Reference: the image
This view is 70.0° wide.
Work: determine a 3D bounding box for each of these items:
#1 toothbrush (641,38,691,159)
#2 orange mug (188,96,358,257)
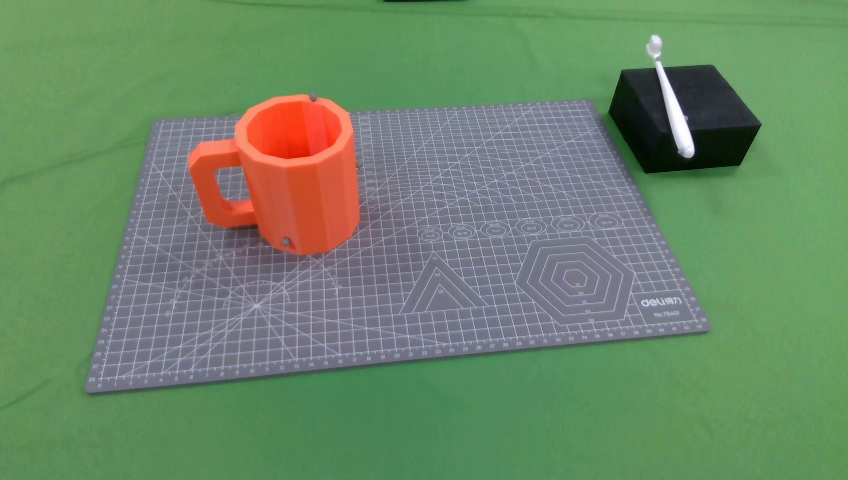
[{"bbox_3d":[0.229,-0.139,0.574,0.014,0.017,0.180,6,49,-1],"label":"toothbrush"},{"bbox_3d":[-0.116,-0.048,0.479,0.126,0.101,0.082,-7,49,-15],"label":"orange mug"}]
